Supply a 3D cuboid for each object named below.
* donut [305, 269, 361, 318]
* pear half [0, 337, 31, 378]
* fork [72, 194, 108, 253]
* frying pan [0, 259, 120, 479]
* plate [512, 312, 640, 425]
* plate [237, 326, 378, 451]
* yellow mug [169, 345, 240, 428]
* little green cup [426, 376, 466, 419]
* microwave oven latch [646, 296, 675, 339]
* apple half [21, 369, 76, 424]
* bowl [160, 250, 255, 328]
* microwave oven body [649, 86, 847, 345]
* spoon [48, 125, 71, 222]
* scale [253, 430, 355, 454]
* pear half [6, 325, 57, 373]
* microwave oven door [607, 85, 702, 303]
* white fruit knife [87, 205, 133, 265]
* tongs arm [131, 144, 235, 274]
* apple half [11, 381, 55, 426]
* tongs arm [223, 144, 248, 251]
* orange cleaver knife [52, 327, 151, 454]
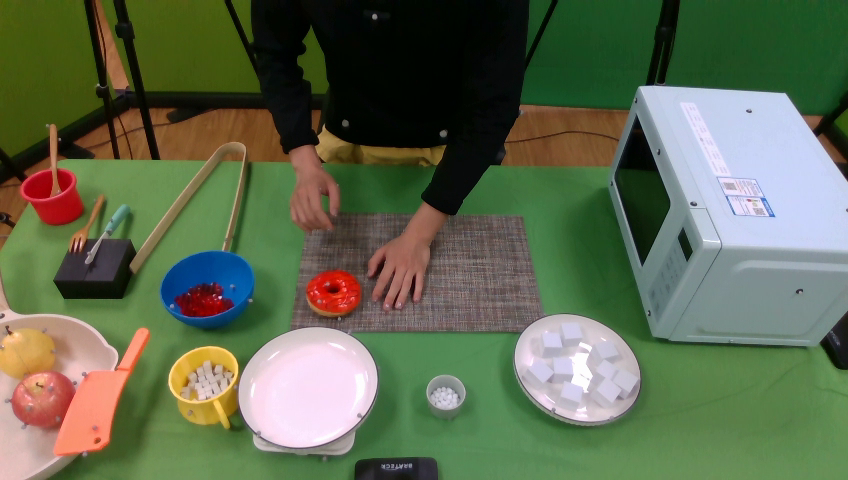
[{"bbox_3d":[-0.161,0.095,1.075,0.099,0.048,0.098,4,45,-3],"label":"donut"},{"bbox_3d":[-0.631,0.183,0.923,0.070,0.088,0.031,28,50,14],"label":"pear half"},{"bbox_3d":[-0.634,-0.036,1.158,0.028,0.019,0.206,-8,32,-8],"label":"fork"},{"bbox_3d":[-0.647,0.164,0.936,0.307,0.103,0.485,-19,58,-22],"label":"frying pan"},{"bbox_3d":[0.246,0.213,0.999,0.208,0.039,0.206,2,46,-2],"label":"plate"},{"bbox_3d":[-0.174,0.224,0.917,0.209,0.038,0.208,2,46,-2],"label":"plate"},{"bbox_3d":[-0.322,0.230,0.922,0.100,0.064,0.130,-24,53,-25],"label":"yellow mug"},{"bbox_3d":[0.033,0.248,0.950,0.061,0.039,0.061,2,46,-2],"label":"little green cup"},{"bbox_3d":[0.412,0.134,1.061,0.030,0.029,0.078,4,45,1],"label":"microwave oven latch"},{"bbox_3d":[-0.546,0.226,0.898,0.080,0.075,0.053,30,48,27],"label":"apple half"},{"bbox_3d":[-0.362,0.098,1.040,0.151,0.077,0.150,2,45,-2],"label":"bowl"},{"bbox_3d":[0.567,-0.053,1.118,0.326,0.261,0.439,2,45,-1],"label":"microwave oven body"},{"bbox_3d":[-0.719,-0.131,1.188,0.041,0.021,0.193,-3,90,-7],"label":"spoon"},{"bbox_3d":[-0.175,0.236,0.951,0.149,0.032,0.199,4,45,0],"label":"scale"},{"bbox_3d":[-0.607,0.158,0.935,0.076,0.110,0.056,30,51,19],"label":"pear half"},{"bbox_3d":[0.423,-0.094,1.140,0.039,0.245,0.353,2,46,-1],"label":"microwave oven door"},{"bbox_3d":[-0.584,-0.013,1.129,0.016,0.027,0.206,0,31,-5],"label":"white fruit knife"},{"bbox_3d":[-0.484,-0.077,1.235,0.028,0.028,0.385,6,45,13],"label":"tongs arm"},{"bbox_3d":[-0.570,0.246,0.875,0.081,0.081,0.033,32,49,24],"label":"apple half"},{"bbox_3d":[-0.398,-0.073,1.232,0.051,0.026,0.382,-2,45,0],"label":"tongs arm"},{"bbox_3d":[-0.462,0.212,0.879,0.077,0.012,0.210,6,45,-2],"label":"orange cleaver knife"}]
